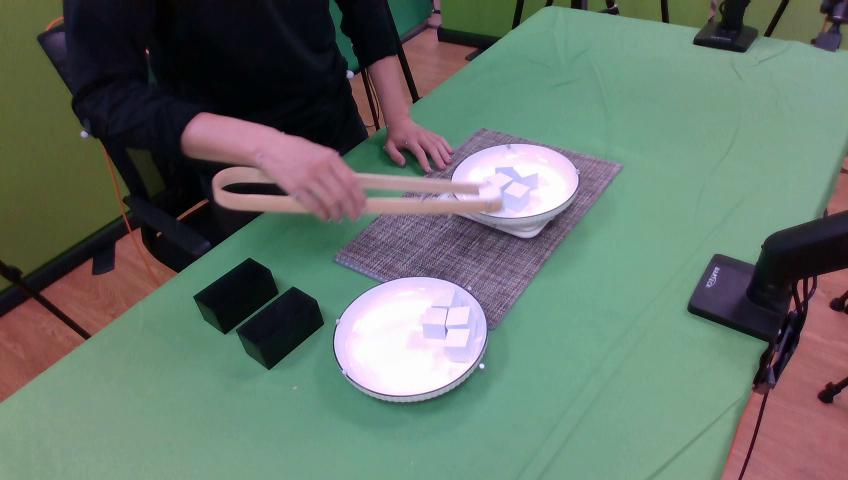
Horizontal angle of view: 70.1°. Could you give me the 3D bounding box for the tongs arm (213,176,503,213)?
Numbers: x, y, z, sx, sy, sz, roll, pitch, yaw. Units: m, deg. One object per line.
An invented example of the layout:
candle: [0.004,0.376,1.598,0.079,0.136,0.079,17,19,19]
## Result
tongs arm: [-0.082,-0.060,0.818,0.387,0.026,0.050,-2,47,-15]

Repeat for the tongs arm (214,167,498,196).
tongs arm: [-0.085,-0.077,0.835,0.389,0.028,0.028,1,50,-12]

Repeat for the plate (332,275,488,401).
plate: [-0.017,0.131,0.808,0.207,0.039,0.206,-4,40,4]

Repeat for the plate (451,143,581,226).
plate: [0.148,-0.087,0.986,0.209,0.038,0.208,-4,41,4]

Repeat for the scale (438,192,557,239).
scale: [0.132,-0.074,1.025,0.199,0.032,0.149,22,48,30]
